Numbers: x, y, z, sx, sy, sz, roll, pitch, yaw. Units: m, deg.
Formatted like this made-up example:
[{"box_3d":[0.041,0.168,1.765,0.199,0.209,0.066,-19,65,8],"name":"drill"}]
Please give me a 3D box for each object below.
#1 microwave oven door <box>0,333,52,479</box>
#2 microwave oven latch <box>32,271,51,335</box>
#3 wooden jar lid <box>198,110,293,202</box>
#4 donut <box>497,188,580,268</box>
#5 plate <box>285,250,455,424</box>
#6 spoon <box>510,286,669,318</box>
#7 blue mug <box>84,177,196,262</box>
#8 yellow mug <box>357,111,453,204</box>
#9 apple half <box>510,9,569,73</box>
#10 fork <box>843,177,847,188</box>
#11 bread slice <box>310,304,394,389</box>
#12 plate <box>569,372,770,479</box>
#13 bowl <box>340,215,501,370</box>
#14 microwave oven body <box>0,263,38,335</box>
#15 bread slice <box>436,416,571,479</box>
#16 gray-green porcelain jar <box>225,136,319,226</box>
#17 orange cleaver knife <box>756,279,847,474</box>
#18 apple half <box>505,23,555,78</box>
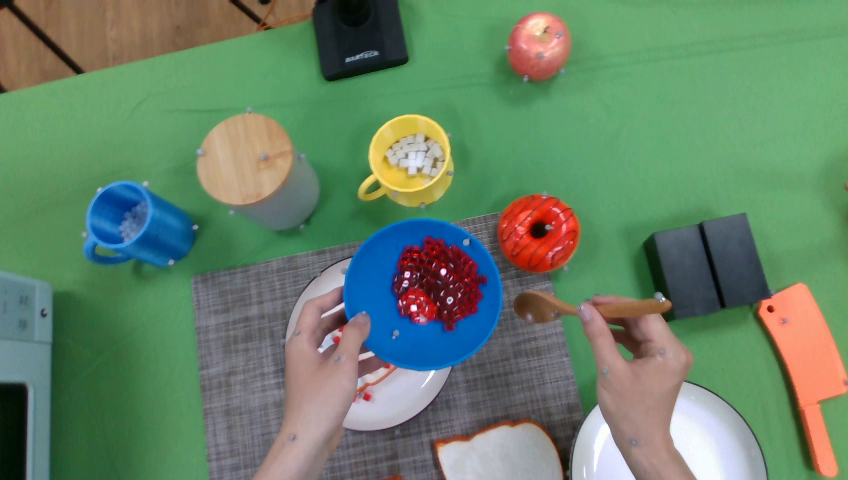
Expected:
[{"box_3d":[-0.477,0.269,0.615,0.039,0.245,0.354,-9,76,4],"name":"microwave oven door"},{"box_3d":[-0.491,0.080,0.763,0.030,0.029,0.079,-6,78,4],"name":"microwave oven latch"},{"box_3d":[-0.198,-0.092,0.679,0.108,0.021,0.108,-2,76,7],"name":"wooden jar lid"},{"box_3d":[0.137,-0.015,0.729,0.099,0.048,0.098,-1,78,6],"name":"donut"},{"box_3d":[-0.060,0.112,0.725,0.207,0.039,0.206,-1,78,6],"name":"plate"},{"box_3d":[0.139,0.057,0.540,0.021,0.193,0.042,-43,104,-21],"name":"spoon"},{"box_3d":[-0.361,-0.014,0.754,0.116,0.106,0.082,-36,76,-2],"name":"blue mug"},{"box_3d":[-0.028,-0.093,0.757,0.131,0.064,0.099,-35,75,-2],"name":"yellow mug"},{"box_3d":[0.153,-0.256,0.769,0.053,0.075,0.080,-42,72,-10],"name":"apple half"},{"box_3d":[0.501,-0.051,0.650,0.209,0.018,0.028,5,74,-36],"name":"fork"},{"box_3d":[-0.069,0.115,0.727,0.131,0.019,0.104,-38,77,-4],"name":"bread slice"},{"box_3d":[0.263,0.251,0.664,0.209,0.038,0.208,-1,78,6],"name":"plate"},{"box_3d":[-0.005,0.059,0.596,0.151,0.077,0.150,1,69,-3],"name":"bowl"},{"box_3d":[-0.626,0.250,0.640,0.326,0.261,0.439,-8,77,4],"name":"microwave oven body"},{"box_3d":[0.093,0.252,0.655,0.134,0.018,0.106,-14,72,-18],"name":"bread slice"},{"box_3d":[-0.191,-0.078,0.740,0.106,0.127,0.105,-1,77,6],"name":"gray-green porcelain jar"},{"box_3d":[0.436,0.149,0.679,0.077,0.012,0.210,-9,75,-2],"name":"orange cleaver knife"},{"box_3d":[0.126,-0.229,0.765,0.033,0.082,0.081,-43,76,-9],"name":"apple half"}]
